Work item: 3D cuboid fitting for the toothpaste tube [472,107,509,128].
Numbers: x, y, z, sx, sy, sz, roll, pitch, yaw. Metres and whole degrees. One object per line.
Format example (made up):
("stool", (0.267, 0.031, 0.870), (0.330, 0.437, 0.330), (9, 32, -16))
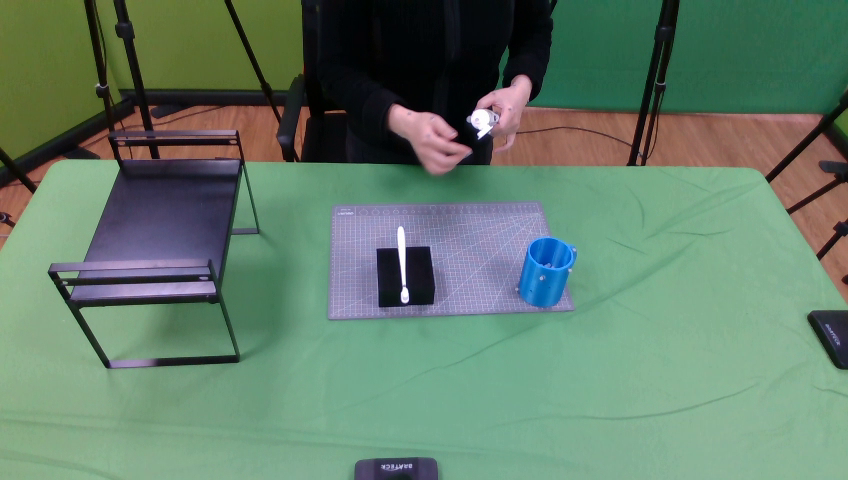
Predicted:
("toothpaste tube", (0.123, -0.232, 1.134), (0.055, 0.034, 0.165), (34, 23, 6))

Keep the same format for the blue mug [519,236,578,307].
("blue mug", (0.234, 0.051, 1.102), (0.116, 0.106, 0.082), (-23, 52, -24))

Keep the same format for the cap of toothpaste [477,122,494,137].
("cap of toothpaste", (0.106, -0.194, 1.053), (0.011, 0.037, 0.037), (52, 54, -9))

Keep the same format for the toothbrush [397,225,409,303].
("toothbrush", (-0.038, 0.038, 1.090), (0.014, 0.017, 0.180), (-6, 46, 0))
